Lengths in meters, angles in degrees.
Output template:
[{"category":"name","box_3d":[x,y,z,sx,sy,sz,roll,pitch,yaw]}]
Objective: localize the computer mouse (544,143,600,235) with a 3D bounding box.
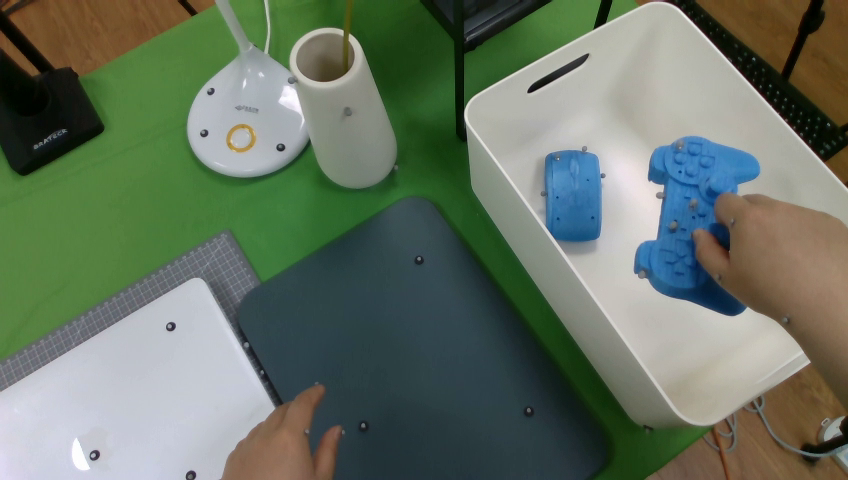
[{"category":"computer mouse","box_3d":[0.170,-0.062,0.697,0.063,0.041,0.116,3,67,8]}]

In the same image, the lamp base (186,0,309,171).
[{"category":"lamp base","box_3d":[-0.223,-0.198,0.696,0.160,0.181,0.178,-1,67,3]}]

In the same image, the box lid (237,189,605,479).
[{"category":"box lid","box_3d":[-0.013,0.136,0.652,0.263,0.015,0.369,-33,72,-10]}]

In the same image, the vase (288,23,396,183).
[{"category":"vase","box_3d":[-0.088,-0.142,0.658,0.098,0.201,0.097,-2,69,5]}]

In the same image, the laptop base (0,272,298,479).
[{"category":"laptop base","box_3d":[-0.336,0.216,0.634,0.354,0.023,0.234,-32,75,-9]}]

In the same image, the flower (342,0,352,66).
[{"category":"flower","box_3d":[-0.075,-0.182,0.585,0.038,0.364,0.043,-17,59,-21]}]

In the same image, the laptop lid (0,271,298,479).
[{"category":"laptop lid","box_3d":[-0.334,0.214,0.623,0.357,0.013,0.240,-31,74,-8]}]

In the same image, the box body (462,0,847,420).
[{"category":"box body","box_3d":[0.232,-0.027,0.621,0.254,0.161,0.361,-30,71,-8]}]

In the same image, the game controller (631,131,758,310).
[{"category":"game controller","box_3d":[0.236,-0.024,0.522,0.097,0.052,0.154,11,71,14]}]
